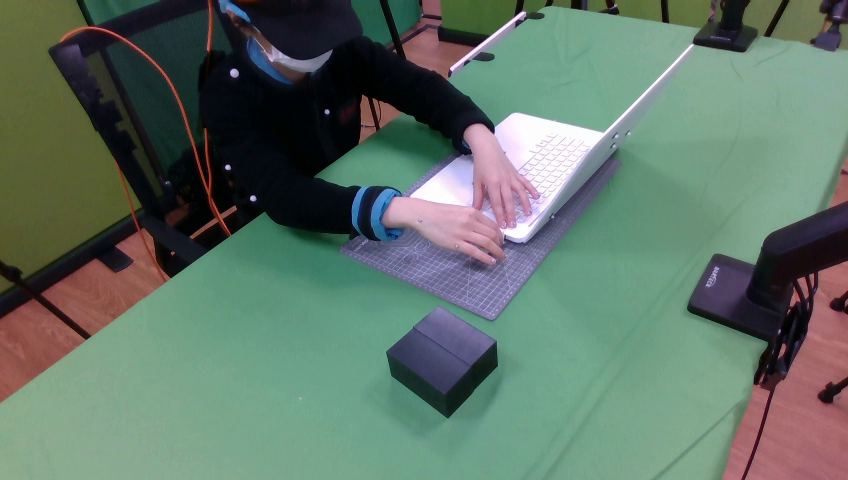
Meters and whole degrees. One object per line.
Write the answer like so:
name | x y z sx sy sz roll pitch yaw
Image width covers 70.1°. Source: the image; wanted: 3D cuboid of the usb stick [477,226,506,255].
usb stick | 0.107 -0.002 0.933 0.021 0.027 0.059 27 40 35

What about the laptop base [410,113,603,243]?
laptop base | 0.171 -0.127 1.096 0.233 0.023 0.355 21 47 33

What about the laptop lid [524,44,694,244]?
laptop lid | 0.290 -0.151 0.941 0.013 0.241 0.358 40 54 12
